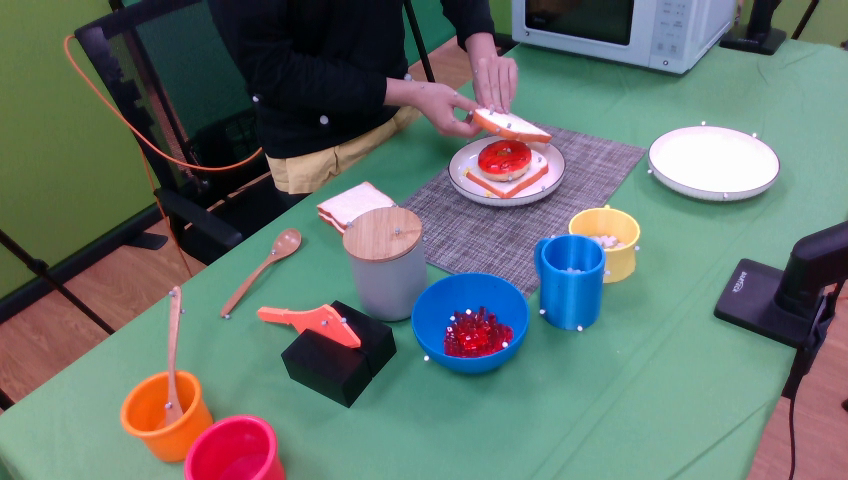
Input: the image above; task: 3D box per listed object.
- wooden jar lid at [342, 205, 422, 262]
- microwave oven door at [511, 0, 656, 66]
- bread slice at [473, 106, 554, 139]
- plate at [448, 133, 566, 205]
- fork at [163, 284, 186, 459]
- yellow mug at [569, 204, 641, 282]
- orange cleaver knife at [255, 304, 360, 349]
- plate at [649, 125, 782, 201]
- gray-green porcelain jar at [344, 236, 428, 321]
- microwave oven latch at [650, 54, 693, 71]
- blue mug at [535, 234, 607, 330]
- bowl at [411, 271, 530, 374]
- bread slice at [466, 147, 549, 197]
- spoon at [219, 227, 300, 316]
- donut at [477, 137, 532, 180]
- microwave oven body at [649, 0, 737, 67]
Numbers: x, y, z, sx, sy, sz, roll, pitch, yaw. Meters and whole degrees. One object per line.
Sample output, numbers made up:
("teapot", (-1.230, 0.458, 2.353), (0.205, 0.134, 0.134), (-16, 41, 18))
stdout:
("wooden jar lid", (-0.055, -0.005, 0.808), (0.108, 0.021, 0.108), (-6, 41, 6))
("microwave oven door", (0.350, -0.539, 1.349), (0.353, 0.245, 0.039), (24, 50, 31))
("bread slice", (0.146, -0.197, 1.017), (0.106, 0.018, 0.135), (33, 29, 27))
("plate", (0.147, -0.124, 1.076), (0.209, 0.038, 0.208), (-4, 41, 4))
("fork", (-0.302, 0.157, 0.733), (0.028, 0.019, 0.207), (-3, 84, 15))
("yellow mug", (0.268, -0.005, 0.904), (0.099, 0.064, 0.130), (7, 41, 15))
("orange cleaver knife", (-0.161, 0.115, 0.813), (0.210, 0.077, 0.012), (-4, 32, 47))
("plate", (0.493, -0.127, 1.036), (0.207, 0.039, 0.206), (-4, 41, 4))
("gray-green porcelain jar", (-0.049, 0.042, 0.849), (0.106, 0.127, 0.105), (-4, 41, 4))
("microwave oven latch", (0.531, -0.386, 1.301), (0.078, 0.029, 0.030), (26, 51, 33))
("blue mug", (0.191, 0.048, 0.824), (0.082, 0.106, 0.115), (-26, 44, -20))
("bowl", (0.061, 0.120, 0.780), (0.151, 0.077, 0.150), (-4, 40, 4))
("bread slice", (0.156, -0.129, 1.083), (0.132, 0.019, 0.104), (-33, 48, -25))
("spoon", (-0.261, 0.046, 0.954), (0.041, 0.021, 0.194), (27, 48, 10))
("donut", (0.140, -0.145, 1.058), (0.099, 0.048, 0.098), (-7, 41, 7))
("microwave oven body", (0.475, -0.602, 1.411), (0.438, 0.261, 0.327), (23, 50, 32))
